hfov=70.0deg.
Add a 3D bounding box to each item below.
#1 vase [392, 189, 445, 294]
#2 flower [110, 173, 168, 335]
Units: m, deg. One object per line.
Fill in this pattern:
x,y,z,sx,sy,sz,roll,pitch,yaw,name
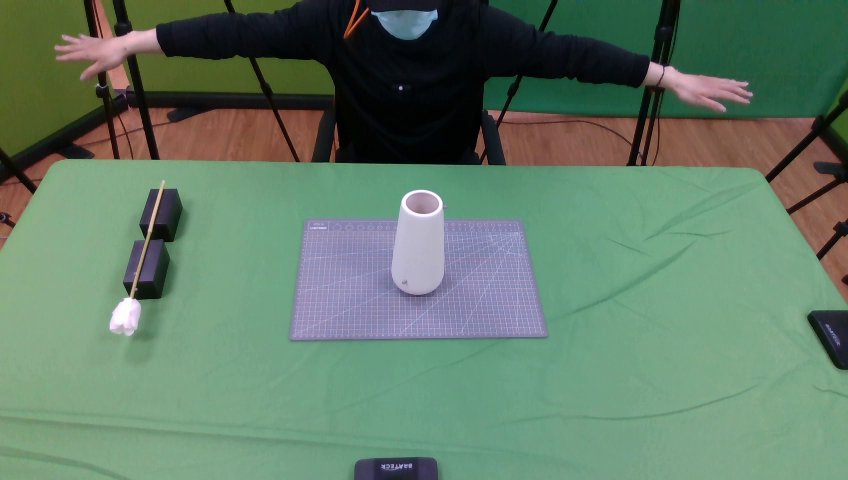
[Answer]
-0.007,0.006,1.060,0.098,0.201,0.097,2,48,-2,vase
-0.497,0.008,1.087,0.044,0.038,0.359,-12,51,9,flower
